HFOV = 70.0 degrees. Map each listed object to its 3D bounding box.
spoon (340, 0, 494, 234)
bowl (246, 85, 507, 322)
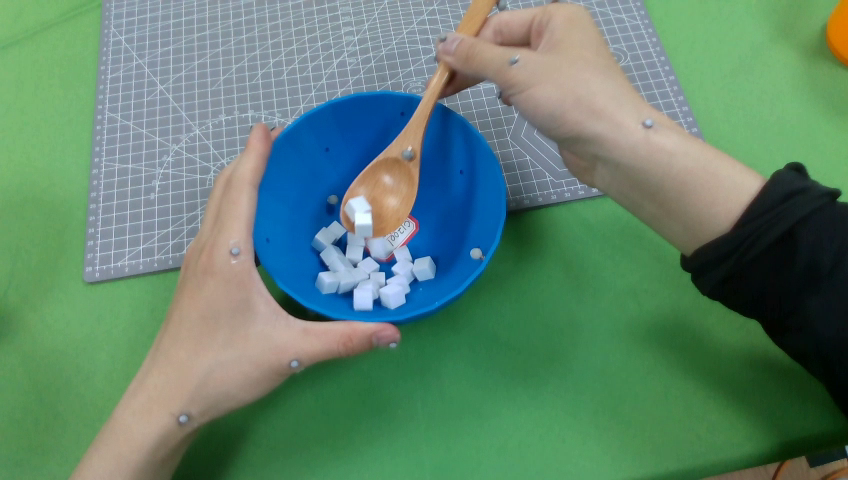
[{"bbox_3d":[0.008,-0.090,0.353,0.041,0.022,0.193,28,89,17],"label":"spoon"},{"bbox_3d":[-0.026,-0.013,0.383,0.151,0.077,0.150,0,68,1],"label":"bowl"}]
